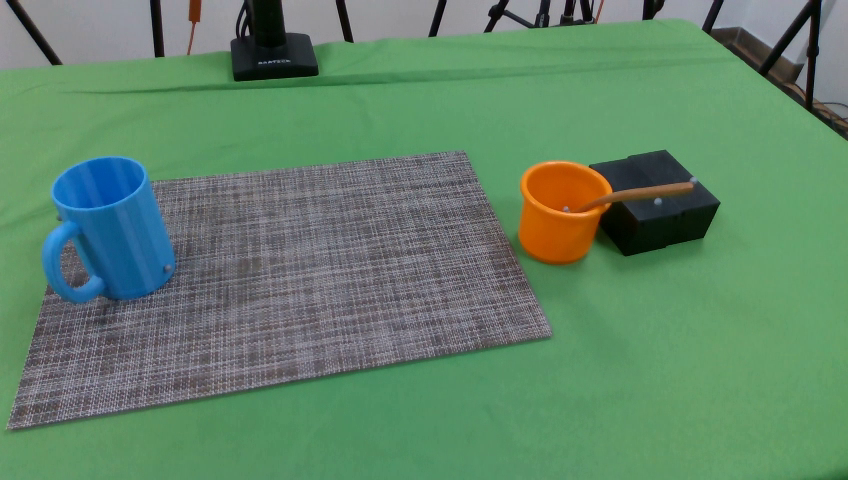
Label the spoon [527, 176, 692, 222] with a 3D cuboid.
[{"bbox_3d":[0.169,-0.040,0.582,0.042,0.193,0.021,-26,94,-31],"label":"spoon"}]

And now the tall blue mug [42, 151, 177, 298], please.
[{"bbox_3d":[-0.276,-0.004,0.539,0.078,0.109,0.106,-1,44,-6],"label":"tall blue mug"}]
